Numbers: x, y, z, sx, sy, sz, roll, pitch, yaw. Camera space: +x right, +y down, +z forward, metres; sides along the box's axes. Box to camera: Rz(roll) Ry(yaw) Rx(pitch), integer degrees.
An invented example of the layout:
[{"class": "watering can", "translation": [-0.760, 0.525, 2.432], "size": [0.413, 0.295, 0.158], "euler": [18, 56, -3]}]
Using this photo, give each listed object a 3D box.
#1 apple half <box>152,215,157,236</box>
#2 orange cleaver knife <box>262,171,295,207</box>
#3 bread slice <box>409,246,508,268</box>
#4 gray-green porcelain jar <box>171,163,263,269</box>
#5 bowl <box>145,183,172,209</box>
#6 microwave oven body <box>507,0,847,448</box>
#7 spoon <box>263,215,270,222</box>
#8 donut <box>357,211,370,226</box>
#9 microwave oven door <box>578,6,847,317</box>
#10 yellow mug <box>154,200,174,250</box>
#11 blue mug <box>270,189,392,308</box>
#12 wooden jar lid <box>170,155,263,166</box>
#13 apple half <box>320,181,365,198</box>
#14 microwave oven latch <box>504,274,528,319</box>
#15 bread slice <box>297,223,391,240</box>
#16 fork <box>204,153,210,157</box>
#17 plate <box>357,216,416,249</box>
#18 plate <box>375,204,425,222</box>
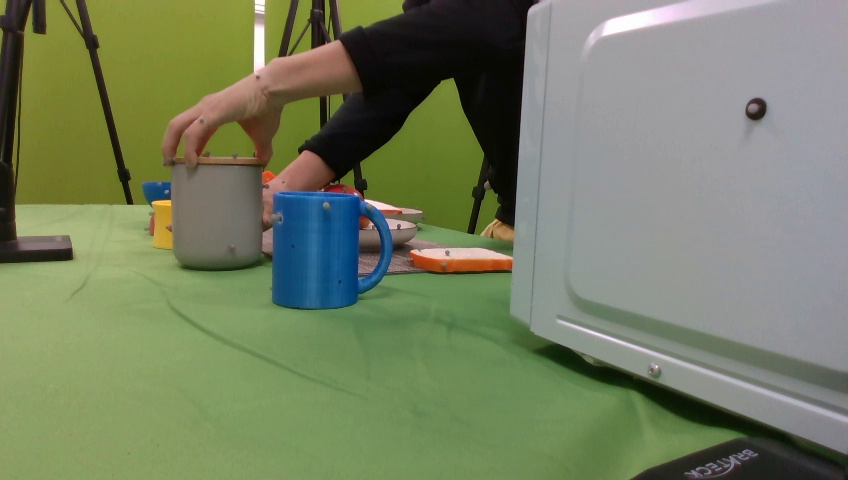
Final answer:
[{"class": "apple half", "translation": [-0.415, -0.034, 1.017], "size": [0.081, 0.053, 0.074], "euler": [1, 9, -8]}, {"class": "orange cleaver knife", "translation": [-0.283, -0.086, 1.343], "size": [0.212, 0.077, 0.012], "euler": [24, -16, -41]}, {"class": "bread slice", "translation": [0.048, 0.021, 0.816], "size": [0.132, 0.019, 0.104], "euler": [0, 7, -24]}, {"class": "gray-green porcelain jar", "translation": [-0.255, -0.031, 0.751], "size": [0.106, 0.126, 0.106], "euler": [1, 7, 0]}, {"class": "bowl", "translation": [-0.459, -0.068, 1.175], "size": [0.151, 0.077, 0.151], "euler": [3, 7, 0]}, {"class": "microwave oven body", "translation": [0.331, -0.042, 0.425], "size": [0.444, 0.260, 0.324], "euler": [-2, 8, -31]}, {"class": "spoon", "translation": [-0.200, -0.032, 0.962], "size": [0.041, 0.021, 0.195], "euler": [4, -1, 32]}, {"class": "donut", "translation": [-0.132, -0.042, 0.959], "size": [0.099, 0.048, 0.099], "euler": [2, 7, 0]}, {"class": "microwave oven door", "translation": [0.294, -0.067, 0.570], "size": [0.358, 0.243, 0.039], "euler": [-3, 9, -31]}, {"class": "yellow mug", "translation": [-0.337, -0.022, 0.898], "size": [0.130, 0.064, 0.100], "euler": [8, 9, 34]}, {"class": "blue mug", "translation": [-0.089, 0.005, 0.588], "size": [0.117, 0.106, 0.082], "euler": [0, 8, -10]}, {"class": "wooden jar lid", "translation": [-0.254, -0.091, 0.743], "size": [0.108, 0.020, 0.108], "euler": [3, 7, 0]}, {"class": "apple half", "translation": [-0.130, -0.076, 0.952], "size": [0.081, 0.033, 0.081], "euler": [3, 14, 0]}, {"class": "microwave oven latch", "translation": [0.100, 0.041, 0.470], "size": [0.079, 0.029, 0.030], "euler": [-1, 7, -26]}, {"class": "bread slice", "translation": [-0.121, -0.015, 0.970], "size": [0.106, 0.018, 0.135], "euler": [9, 9, 41]}, {"class": "fork", "translation": [-0.480, -0.135, 1.411], "size": [0.028, 0.018, 0.207], "euler": [1, -34, -1]}, {"class": "plate", "translation": [-0.116, -0.014, 0.967], "size": [0.208, 0.039, 0.207], "euler": [2, 7, 0]}, {"class": "plate", "translation": [-0.102, -0.053, 1.299], "size": [0.209, 0.038, 0.209], "euler": [2, 8, 0]}]
